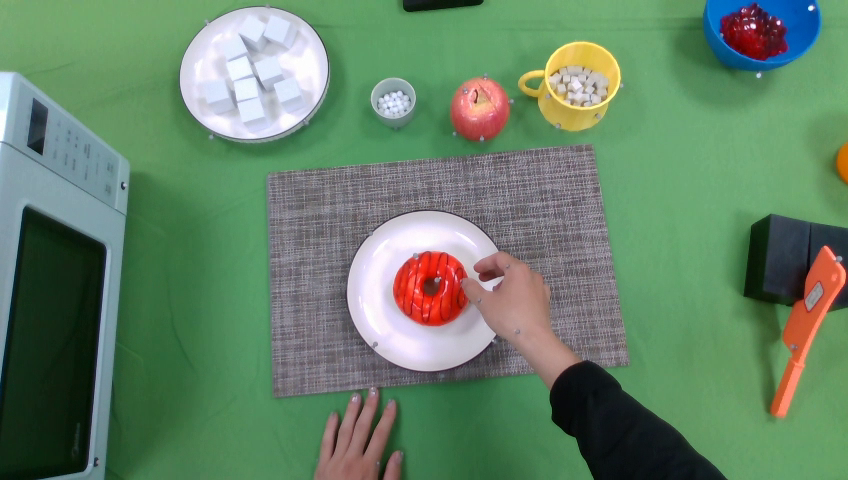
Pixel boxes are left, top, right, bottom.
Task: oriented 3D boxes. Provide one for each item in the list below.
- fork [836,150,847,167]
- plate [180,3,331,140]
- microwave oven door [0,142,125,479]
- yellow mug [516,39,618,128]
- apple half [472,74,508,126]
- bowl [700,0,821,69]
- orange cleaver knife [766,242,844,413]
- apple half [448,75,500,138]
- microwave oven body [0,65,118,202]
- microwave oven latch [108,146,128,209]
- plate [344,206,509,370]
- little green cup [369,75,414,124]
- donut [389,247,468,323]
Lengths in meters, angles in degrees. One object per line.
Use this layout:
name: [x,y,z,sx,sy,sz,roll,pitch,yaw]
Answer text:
fork: [0.636,-0.121,0.752,0.206,0.019,0.028,-10,67,44]
plate: [-0.233,-0.233,0.852,0.208,0.039,0.206,0,76,1]
microwave oven door: [-0.407,0.105,0.646,0.039,0.245,0.354,-3,76,1]
yellow mug: [0.191,-0.213,0.826,0.131,0.064,0.099,5,76,3]
apple half: [0.094,-0.192,0.818,0.033,0.081,0.081,-32,77,-2]
bowl: [0.447,-0.294,0.835,0.151,0.077,0.150,0,76,2]
orange cleaver knife: [0.451,0.107,0.730,0.012,0.077,0.212,13,108,6]
apple half: [0.060,-0.171,0.814,0.053,0.075,0.080,-32,81,-2]
microwave oven body: [-0.554,0.071,0.662,0.326,0.261,0.439,-2,76,0]
microwave oven latch: [-0.410,-0.081,0.797,0.030,0.029,0.079,-1,77,0]
plate: [0.003,0.060,0.771,0.209,0.038,0.208,0,76,1]
little green cup: [-0.043,-0.192,0.839,0.061,0.039,0.061,0,76,1]
donut: [0.006,0.056,0.760,0.099,0.048,0.098,0,78,2]
